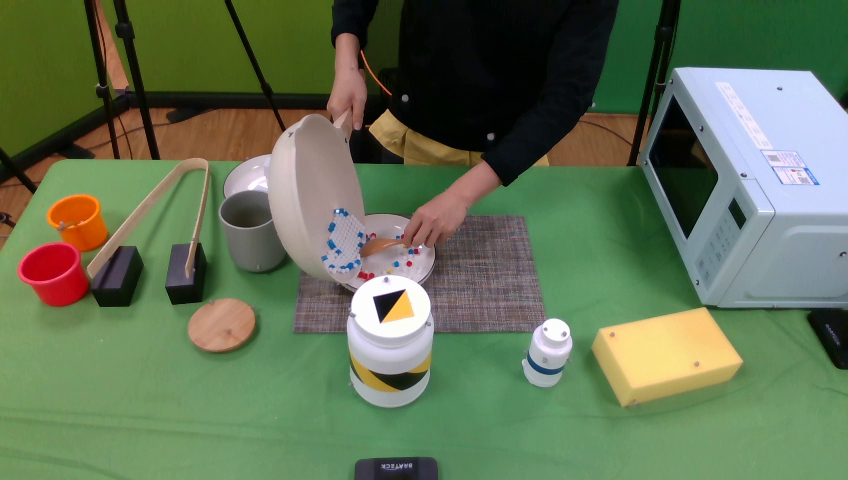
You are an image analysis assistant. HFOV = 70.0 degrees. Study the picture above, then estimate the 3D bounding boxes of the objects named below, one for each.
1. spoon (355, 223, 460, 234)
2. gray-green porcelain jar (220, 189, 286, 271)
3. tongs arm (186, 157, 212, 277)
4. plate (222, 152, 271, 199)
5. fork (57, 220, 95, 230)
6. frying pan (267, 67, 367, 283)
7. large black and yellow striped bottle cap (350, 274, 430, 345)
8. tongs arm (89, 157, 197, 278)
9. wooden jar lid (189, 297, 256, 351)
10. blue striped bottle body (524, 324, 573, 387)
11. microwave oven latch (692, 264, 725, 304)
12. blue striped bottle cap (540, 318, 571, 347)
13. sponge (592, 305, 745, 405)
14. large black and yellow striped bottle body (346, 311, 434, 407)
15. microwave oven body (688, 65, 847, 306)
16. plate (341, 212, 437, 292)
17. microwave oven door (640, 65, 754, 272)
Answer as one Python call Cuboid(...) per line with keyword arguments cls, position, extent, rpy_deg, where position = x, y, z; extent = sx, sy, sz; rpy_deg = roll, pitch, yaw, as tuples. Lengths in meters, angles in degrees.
Cuboid(cls="spoon", position=(-0.029, -0.020, 1.115), extent=(0.194, 0.021, 0.041), rpy_deg=(1, 8, -10))
Cuboid(cls="gray-green porcelain jar", position=(-0.309, -0.014, 1.113), extent=(0.106, 0.127, 0.105), rpy_deg=(2, 46, -2))
Cuboid(cls="tongs arm", position=(-0.445, -0.058, 1.168), extent=(0.051, 0.026, 0.382), rpy_deg=(-5, 37, -6))
Cuboid(cls="plate", position=(-0.310, -0.106, 1.263), extent=(0.208, 0.039, 0.206), rpy_deg=(2, 47, -2))
Cuboid(cls="fork", position=(-0.624, -0.027, 1.086), extent=(0.028, 0.207, 0.018), rpy_deg=(-3, 92, -17))
Cuboid(cls="frying pan", position=(-0.162, -0.149, 1.097), extent=(0.102, 0.309, 0.485), rpy_deg=(-2, 52, 18))
Cuboid(cls="large black and yellow striped bottle cap", position=(-0.048, 0.097, 0.868), extent=(0.115, 0.019, 0.114), rpy_deg=(3, 48, -3))
Cuboid(cls="tongs arm", position=(-0.530, -0.057, 1.164), extent=(0.028, 0.028, 0.385), rpy_deg=(1, 36, 8))
Cuboid(cls="wooden jar lid", position=(-0.342, 0.145, 1.033), extent=(0.108, 0.021, 0.107), rpy_deg=(3, 45, -2))
Cuboid(cls="blue striped bottle body", position=(0.200, 0.178, 0.970), extent=(0.063, 0.121, 0.062), rpy_deg=(2, 46, -2))
Cuboid(cls="microwave oven latch", position=(0.522, 0.081, 1.116), extent=(0.030, 0.029, 0.078), rpy_deg=(1, 46, -2))
Cuboid(cls="blue striped bottle cap", position=(0.203, 0.142, 0.933), extent=(0.044, 0.021, 0.044), rpy_deg=(3, 49, -4))
Cuboid(cls="sponge", position=(0.405, 0.190, 1.014), extent=(0.207, 0.061, 0.117), rpy_deg=(-10, 48, -12))
Cuboid(cls="large black and yellow striped bottle body", position=(-0.052, 0.157, 0.929), extent=(0.131, 0.185, 0.130), rpy_deg=(2, 47, -2))
Cuboid(cls="microwave oven body", position=(0.669, -0.111, 1.176), extent=(0.326, 0.261, 0.439), rpy_deg=(0, 46, -3))
Cuboid(cls="plate", position=(-0.080, 0.030, 1.143), extent=(0.209, 0.038, 0.208), rpy_deg=(2, 46, -2))
Cuboid(cls="microwave oven door", position=(0.524, -0.148, 1.193), extent=(0.039, 0.245, 0.353), rpy_deg=(0, 47, -3))
